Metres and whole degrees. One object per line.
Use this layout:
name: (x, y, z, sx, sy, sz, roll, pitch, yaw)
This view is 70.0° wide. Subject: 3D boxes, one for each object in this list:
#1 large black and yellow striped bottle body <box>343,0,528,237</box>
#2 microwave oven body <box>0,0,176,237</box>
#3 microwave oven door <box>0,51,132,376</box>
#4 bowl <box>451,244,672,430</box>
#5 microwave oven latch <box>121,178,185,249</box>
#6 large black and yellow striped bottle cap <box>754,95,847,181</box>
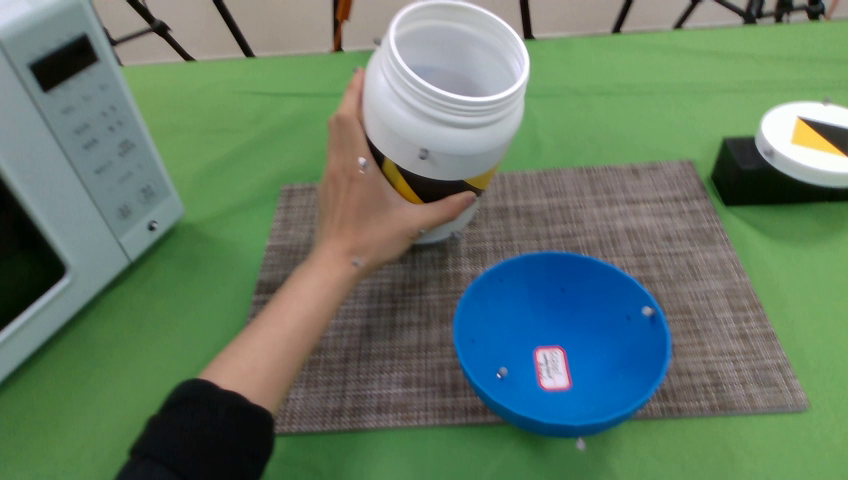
large black and yellow striped bottle body: (0.006, -0.101, 0.516, 0.131, 0.185, 0.129, 7, 58, -11)
microwave oven body: (-0.493, -0.021, 0.476, 0.324, 0.263, 0.439, 18, 52, 20)
microwave oven door: (-0.383, 0.045, 0.397, 0.039, 0.246, 0.354, 18, 51, 21)
bowl: (0.097, 0.083, 0.452, 0.151, 0.077, 0.150, -3, 46, 3)
microwave oven latch: (-0.273, -0.029, 0.600, 0.030, 0.030, 0.079, 20, 52, 22)
large black and yellow striped bottle cap: (0.381, -0.100, 0.579, 0.115, 0.019, 0.114, -3, 46, 4)
